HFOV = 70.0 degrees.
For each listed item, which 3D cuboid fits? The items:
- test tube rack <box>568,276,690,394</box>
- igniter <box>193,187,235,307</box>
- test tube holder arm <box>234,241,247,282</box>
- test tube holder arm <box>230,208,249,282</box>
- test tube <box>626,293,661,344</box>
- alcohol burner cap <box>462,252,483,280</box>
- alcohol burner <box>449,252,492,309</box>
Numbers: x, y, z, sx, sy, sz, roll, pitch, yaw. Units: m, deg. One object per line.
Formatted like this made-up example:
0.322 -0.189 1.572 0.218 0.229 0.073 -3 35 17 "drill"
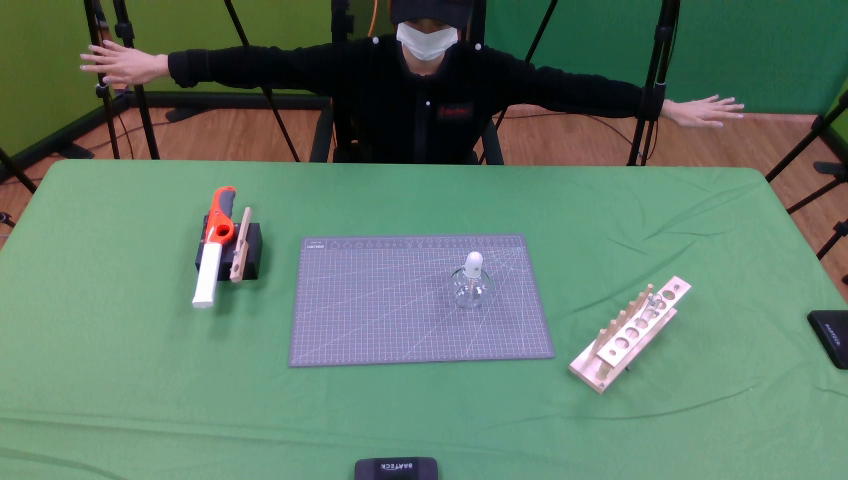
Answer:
0.354 0.149 1.039 0.242 0.085 0.066 -34 56 -31 "test tube rack"
-0.378 0.003 1.096 0.057 0.025 0.274 -1 49 -6 "igniter"
-0.324 0.037 1.072 0.010 0.015 0.087 -6 46 -1 "test tube holder arm"
-0.334 0.006 1.102 0.013 0.015 0.177 -7 46 -2 "test tube holder arm"
0.355 0.133 0.984 0.017 0.151 0.017 1 52 0 "test tube"
0.085 0.041 1.047 0.034 0.048 0.033 4 44 -4 "alcohol burner cap"
0.084 0.066 1.074 0.078 0.120 0.077 1 44 -1 "alcohol burner"
